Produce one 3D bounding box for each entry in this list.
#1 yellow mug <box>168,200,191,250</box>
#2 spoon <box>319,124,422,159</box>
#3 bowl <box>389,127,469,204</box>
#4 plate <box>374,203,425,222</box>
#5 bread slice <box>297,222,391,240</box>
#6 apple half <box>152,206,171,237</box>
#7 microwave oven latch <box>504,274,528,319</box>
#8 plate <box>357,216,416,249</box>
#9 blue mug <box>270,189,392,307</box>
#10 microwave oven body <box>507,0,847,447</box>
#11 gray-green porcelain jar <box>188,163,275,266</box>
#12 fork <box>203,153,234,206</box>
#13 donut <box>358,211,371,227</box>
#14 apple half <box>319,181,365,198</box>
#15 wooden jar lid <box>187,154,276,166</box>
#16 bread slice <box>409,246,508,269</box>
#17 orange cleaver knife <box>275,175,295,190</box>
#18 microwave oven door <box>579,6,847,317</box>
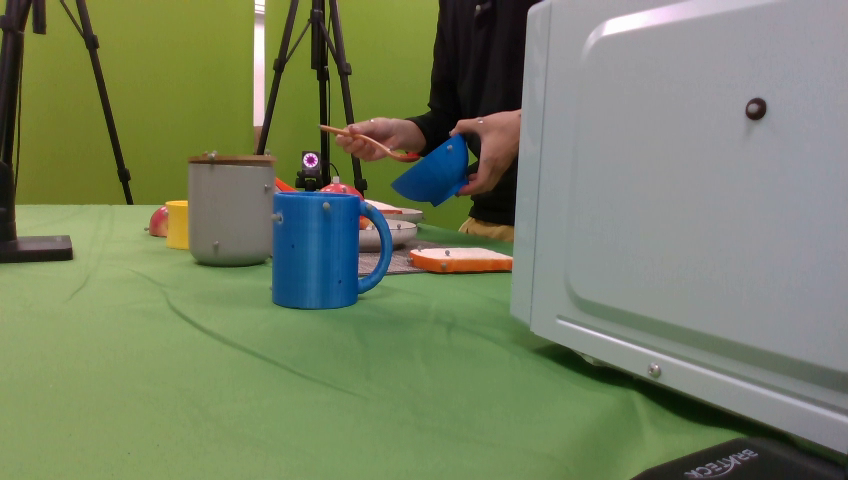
[{"bbox_3d":[-0.320,-0.023,0.904,0.130,0.064,0.100,8,10,36],"label":"yellow mug"},{"bbox_3d":[-0.093,-0.172,1.038,0.193,0.021,0.042,22,17,14],"label":"spoon"},{"bbox_3d":[0.024,-0.113,1.019,0.151,0.077,0.151,-37,4,4],"label":"bowl"},{"bbox_3d":[-0.102,-0.053,1.299,0.209,0.038,0.209,2,8,0],"label":"plate"},{"bbox_3d":[-0.121,-0.016,0.970,0.106,0.018,0.135,9,8,41],"label":"bread slice"},{"bbox_3d":[-0.415,-0.034,1.017,0.081,0.053,0.074,1,10,-9],"label":"apple half"},{"bbox_3d":[0.100,0.041,0.471,0.079,0.029,0.030,-1,7,-27],"label":"microwave oven latch"},{"bbox_3d":[-0.116,-0.014,0.967,0.208,0.039,0.207,2,7,0],"label":"plate"},{"bbox_3d":[-0.089,0.005,0.588,0.117,0.106,0.082,1,7,-10],"label":"blue mug"},{"bbox_3d":[0.331,-0.042,0.425,0.444,0.260,0.324,-2,8,-31],"label":"microwave oven body"},{"bbox_3d":[-0.246,-0.034,0.779,0.106,0.126,0.106,1,7,0],"label":"gray-green porcelain jar"},{"bbox_3d":[-0.480,-0.136,1.412,0.028,0.018,0.207,0,-34,-1],"label":"fork"},{"bbox_3d":[-0.132,-0.041,0.959,0.099,0.048,0.099,3,8,0],"label":"donut"},{"bbox_3d":[-0.130,-0.077,0.952,0.081,0.033,0.081,4,14,-1],"label":"apple half"},{"bbox_3d":[-0.244,-0.097,0.771,0.108,0.020,0.108,-1,6,0],"label":"wooden jar lid"},{"bbox_3d":[0.048,0.022,0.816,0.132,0.019,0.104,0,7,-24],"label":"bread slice"},{"bbox_3d":[-0.283,-0.087,1.343,0.212,0.077,0.012,24,-16,-41],"label":"orange cleaver knife"},{"bbox_3d":[0.294,-0.067,0.570,0.358,0.243,0.039,-3,9,-31],"label":"microwave oven door"}]
